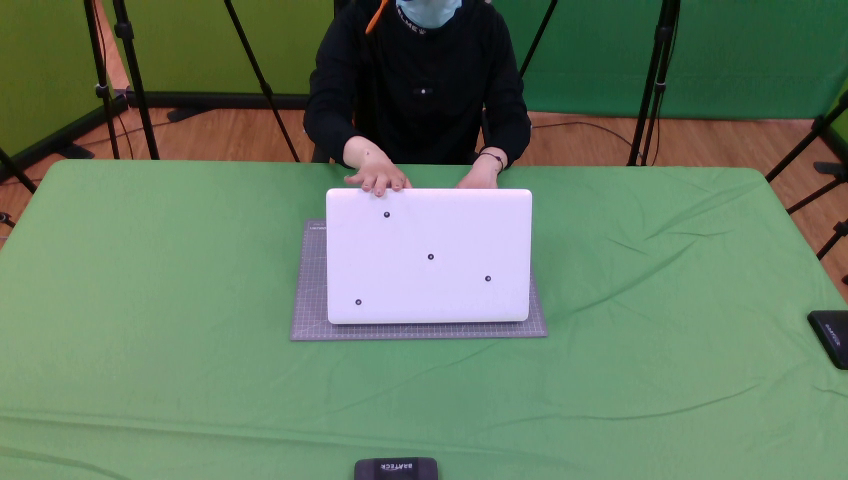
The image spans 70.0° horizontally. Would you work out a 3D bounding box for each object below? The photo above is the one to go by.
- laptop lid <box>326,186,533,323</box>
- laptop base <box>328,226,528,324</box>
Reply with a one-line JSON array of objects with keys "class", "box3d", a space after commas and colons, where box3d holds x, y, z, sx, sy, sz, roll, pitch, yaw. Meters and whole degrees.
[{"class": "laptop lid", "box3d": [0.011, 0.026, 1.033, 0.357, 0.241, 0.013, 1, 6, -4]}, {"class": "laptop base", "box3d": [0.005, 0.061, 1.137, 0.355, 0.023, 0.234, 0, 43, -4]}]
